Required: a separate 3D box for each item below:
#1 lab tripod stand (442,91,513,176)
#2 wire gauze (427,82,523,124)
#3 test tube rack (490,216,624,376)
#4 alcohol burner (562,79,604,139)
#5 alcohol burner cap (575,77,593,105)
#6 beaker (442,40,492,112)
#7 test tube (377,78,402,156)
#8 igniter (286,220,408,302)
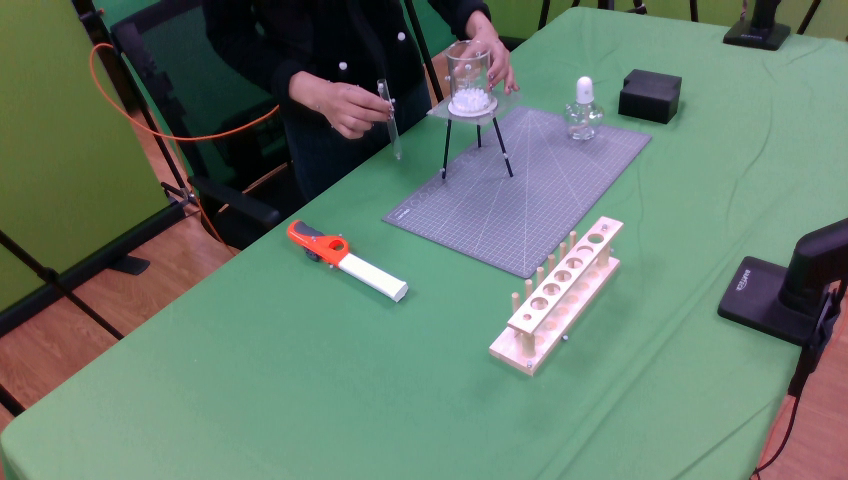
[{"bbox_3d":[0.096,-0.190,1.096,0.148,0.132,0.147,-4,40,4],"label":"lab tripod stand"},{"bbox_3d":[0.088,-0.237,1.051,0.120,0.011,0.125,23,47,30],"label":"wire gauze"},{"bbox_3d":[0.184,0.064,0.822,0.066,0.085,0.243,24,50,33],"label":"test tube rack"},{"bbox_3d":[0.303,-0.253,1.147,0.078,0.119,0.077,-4,41,4],"label":"alcohol burner"},{"bbox_3d":[0.297,-0.279,1.123,0.034,0.048,0.033,-8,41,8],"label":"alcohol burner cap"},{"bbox_3d":[0.075,-0.275,1.021,0.084,0.101,0.074,3,41,13],"label":"beaker"},{"bbox_3d":[-0.057,-0.204,1.020,0.017,0.151,0.017,-6,44,6],"label":"test tube"},{"bbox_3d":[-0.134,0.028,0.969,0.274,0.025,0.057,26,61,35],"label":"igniter"}]
